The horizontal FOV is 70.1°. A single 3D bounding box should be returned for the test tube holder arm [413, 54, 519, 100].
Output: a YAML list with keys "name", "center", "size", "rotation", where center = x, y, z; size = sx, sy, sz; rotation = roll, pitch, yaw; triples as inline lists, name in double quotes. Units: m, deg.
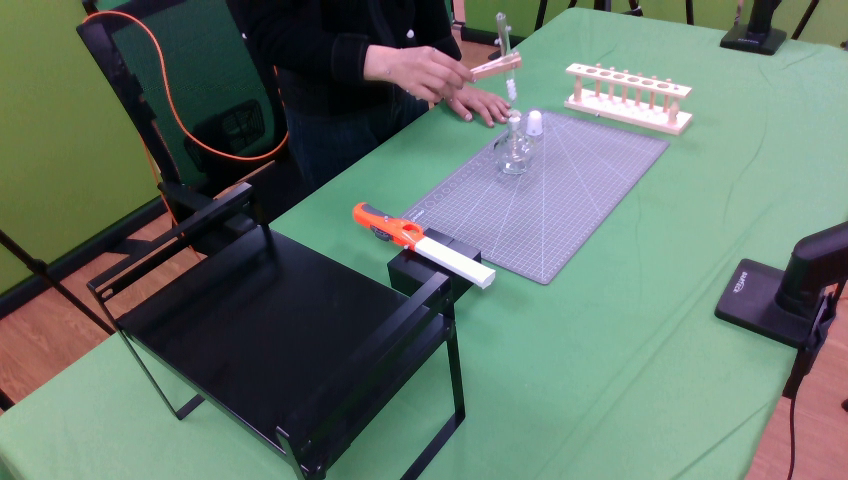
- name: "test tube holder arm"
  center: [0.069, -0.264, 0.979]
  size: [0.178, 0.015, 0.013]
  rotation: [-19, 46, 3]

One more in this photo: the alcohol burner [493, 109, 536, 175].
- name: "alcohol burner"
  center: [0.163, -0.179, 1.087]
  size: [0.078, 0.119, 0.077]
  rotation: [-5, 38, 5]

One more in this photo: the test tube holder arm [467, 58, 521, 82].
- name: "test tube holder arm"
  center: [0.112, -0.273, 0.971]
  size: [0.088, 0.015, 0.010]
  rotation: [-12, 48, 9]

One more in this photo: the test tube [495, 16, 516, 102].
- name: "test tube"
  center: [0.132, -0.286, 0.968]
  size: [0.017, 0.151, 0.017]
  rotation: [-9, 46, 10]

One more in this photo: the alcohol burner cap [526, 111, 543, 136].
- name: "alcohol burner cap"
  center: [0.219, -0.232, 1.196]
  size: [0.034, 0.048, 0.033]
  rotation: [-4, 41, 4]

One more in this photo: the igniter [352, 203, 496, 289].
- name: "igniter"
  center: [-0.011, 0.002, 0.899]
  size: [0.274, 0.025, 0.057]
  rotation: [27, 45, 33]

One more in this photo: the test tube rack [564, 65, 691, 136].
- name: "test tube rack"
  center: [0.404, -0.288, 1.204]
  size: [0.240, 0.085, 0.067]
  rotation: [24, 49, 32]
